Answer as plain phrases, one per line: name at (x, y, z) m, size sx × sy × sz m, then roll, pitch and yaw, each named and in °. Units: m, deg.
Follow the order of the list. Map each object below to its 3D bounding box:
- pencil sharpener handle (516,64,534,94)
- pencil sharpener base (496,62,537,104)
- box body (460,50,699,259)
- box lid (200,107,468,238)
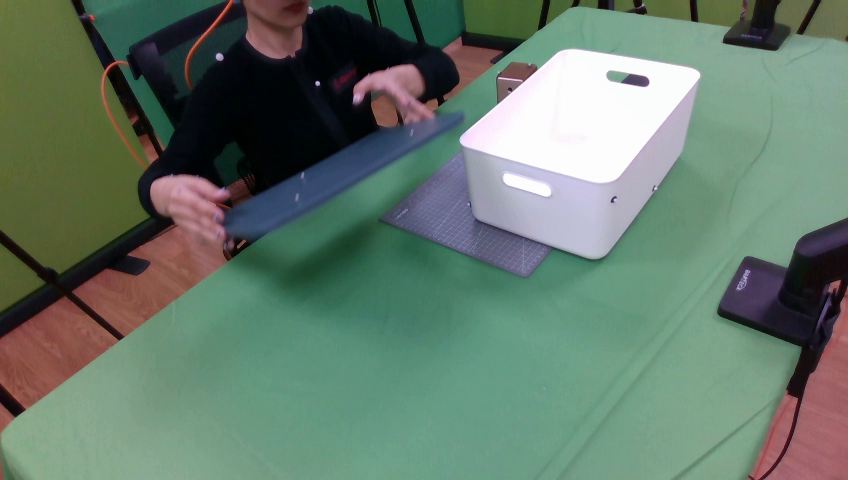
pencil sharpener handle at (0.214, -0.337, 1.249) m, size 0.036 × 0.068 × 0.031 m, roll 12°, pitch 44°, yaw 28°
pencil sharpener base at (0.190, -0.296, 1.225) m, size 0.061 × 0.107 × 0.077 m, roll 14°, pitch 45°, yaw 27°
box body at (0.261, -0.153, 1.001) m, size 0.252 × 0.161 × 0.365 m, roll 21°, pitch 48°, yaw 31°
box lid at (-0.130, -0.101, 0.881) m, size 0.373 × 0.015 × 0.261 m, roll -35°, pitch 21°, yaw -29°
